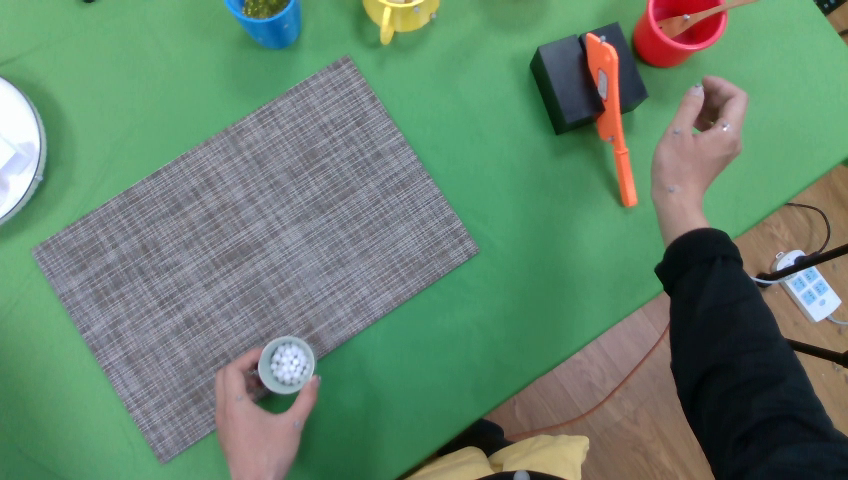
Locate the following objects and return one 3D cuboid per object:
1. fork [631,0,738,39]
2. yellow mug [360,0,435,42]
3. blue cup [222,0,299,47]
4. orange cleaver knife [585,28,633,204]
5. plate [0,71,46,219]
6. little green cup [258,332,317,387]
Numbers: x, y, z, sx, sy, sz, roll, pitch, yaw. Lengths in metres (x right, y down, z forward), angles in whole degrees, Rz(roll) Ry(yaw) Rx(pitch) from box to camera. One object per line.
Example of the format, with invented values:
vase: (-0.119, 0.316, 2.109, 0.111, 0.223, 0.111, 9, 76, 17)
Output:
fork: (0.350, -0.279, 0.718, 0.206, 0.019, 0.028, -10, 79, 39)
yellow mug: (-0.037, -0.308, 0.746, 0.100, 0.064, 0.130, 14, 85, 0)
blue cup: (-0.188, -0.279, 0.720, 0.093, 0.100, 0.092, 0, 85, -3)
orange cleaver knife: (0.222, -0.147, 0.731, 0.012, 0.076, 0.213, -18, 114, 0)
plate: (-0.551, -0.108, 0.719, 0.208, 0.039, 0.207, 0, 84, -2)
little green cup: (-0.150, 0.133, 0.680, 0.061, 0.039, 0.061, 0, 84, 4)
